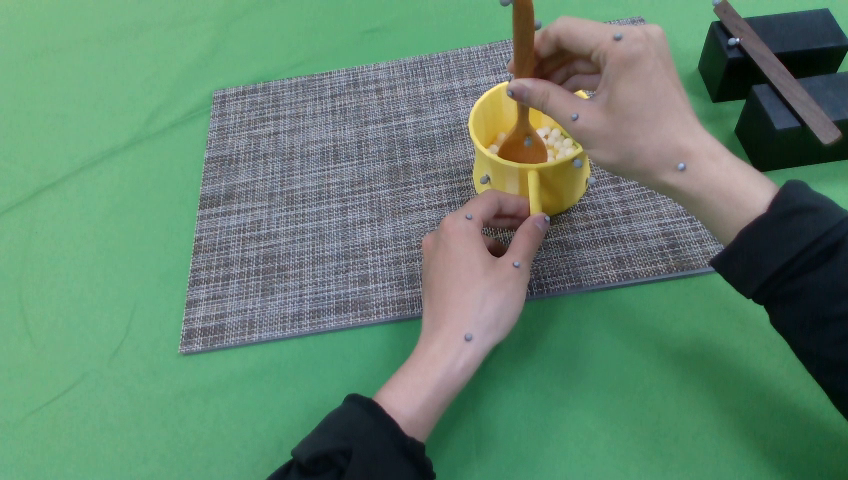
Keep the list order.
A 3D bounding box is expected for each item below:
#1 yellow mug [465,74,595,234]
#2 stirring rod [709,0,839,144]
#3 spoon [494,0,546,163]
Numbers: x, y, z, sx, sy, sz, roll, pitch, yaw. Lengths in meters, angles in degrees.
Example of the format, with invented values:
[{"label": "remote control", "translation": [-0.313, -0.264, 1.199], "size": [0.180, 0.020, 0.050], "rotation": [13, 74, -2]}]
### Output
[{"label": "yellow mug", "translation": [0.085, -0.065, 0.487], "size": [0.100, 0.064, 0.129], "rotation": [-3, 57, 7]}, {"label": "stirring rod", "translation": [0.277, -0.142, 0.488], "size": [0.014, 0.006, 0.174], "rotation": [-36, 51, 27]}, {"label": "spoon", "translation": [0.068, -0.097, 0.424], "size": [0.041, 0.195, 0.021], "rotation": [2, 69, 9]}]
